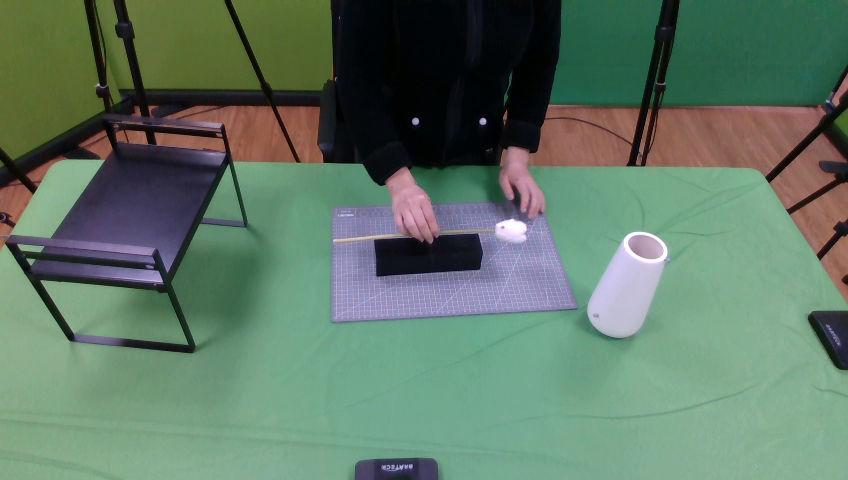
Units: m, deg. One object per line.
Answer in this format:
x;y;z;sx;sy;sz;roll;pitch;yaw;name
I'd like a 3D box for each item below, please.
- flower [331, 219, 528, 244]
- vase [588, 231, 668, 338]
0.013;-0.017;1.110;0.362;0.038;0.044;1;65;-6;flower
0.343;0.079;1.022;0.098;0.201;0.097;2;47;-2;vase
